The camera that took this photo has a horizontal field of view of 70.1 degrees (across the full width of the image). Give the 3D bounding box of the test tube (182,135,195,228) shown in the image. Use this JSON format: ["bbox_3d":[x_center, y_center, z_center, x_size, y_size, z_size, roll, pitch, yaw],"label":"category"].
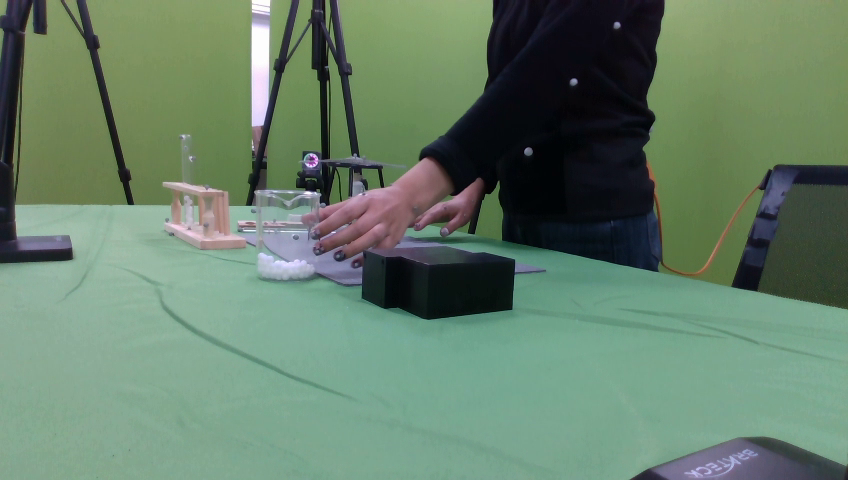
[{"bbox_3d":[-0.382,-0.095,0.983,0.017,0.150,0.017,-1,2,0],"label":"test tube"}]

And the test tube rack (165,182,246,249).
[{"bbox_3d":[-0.360,-0.045,0.982,0.067,0.085,0.241,-3,9,-34],"label":"test tube rack"}]

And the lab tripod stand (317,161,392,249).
[{"bbox_3d":[-0.111,-0.059,0.964,0.148,0.131,0.148,4,8,0],"label":"lab tripod stand"}]

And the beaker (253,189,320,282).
[{"bbox_3d":[-0.156,-0.005,0.689,0.074,0.100,0.083,0,8,-14],"label":"beaker"}]

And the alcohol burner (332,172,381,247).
[{"bbox_3d":[-0.107,-0.048,0.961,0.078,0.119,0.078,1,9,0],"label":"alcohol burner"}]

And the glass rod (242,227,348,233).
[{"bbox_3d":[-0.232,-0.017,1.110,0.201,0.008,0.008,1,6,-30],"label":"glass rod"}]

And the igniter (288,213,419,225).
[{"bbox_3d":[-0.145,-0.044,1.278,0.278,0.025,0.057,-1,-2,-21],"label":"igniter"}]

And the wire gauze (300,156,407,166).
[{"bbox_3d":[-0.112,-0.126,0.959,0.121,0.011,0.126,10,11,41],"label":"wire gauze"}]

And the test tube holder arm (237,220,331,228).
[{"bbox_3d":[-0.260,-0.029,1.141,0.179,0.015,0.013,-2,41,-32],"label":"test tube holder arm"}]

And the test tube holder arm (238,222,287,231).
[{"bbox_3d":[-0.297,-0.024,1.113,0.088,0.015,0.010,-2,41,-32],"label":"test tube holder arm"}]

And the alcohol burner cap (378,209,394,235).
[{"bbox_3d":[-0.072,-0.035,1.145,0.034,0.048,0.034,2,7,0],"label":"alcohol burner cap"}]
